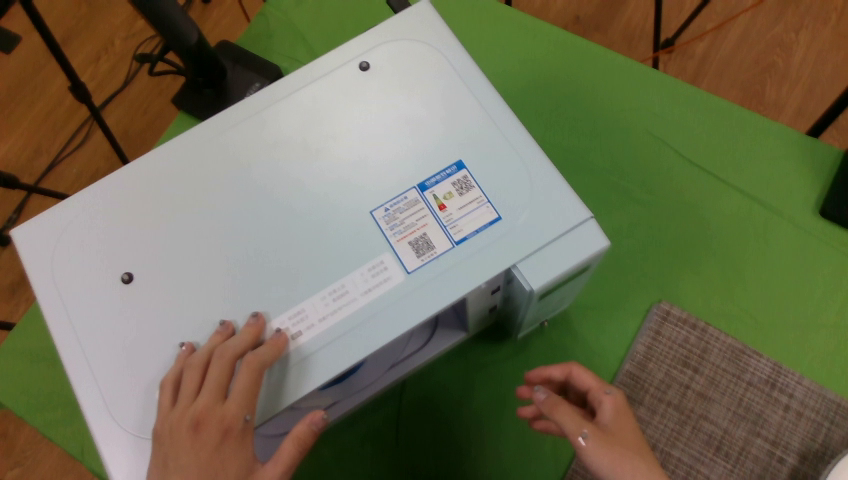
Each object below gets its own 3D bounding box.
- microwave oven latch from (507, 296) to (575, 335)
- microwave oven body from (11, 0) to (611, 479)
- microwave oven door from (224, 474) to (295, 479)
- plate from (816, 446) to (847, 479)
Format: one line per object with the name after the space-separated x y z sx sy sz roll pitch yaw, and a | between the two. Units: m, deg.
0.135 0.078 0.700 0.079 0.030 0.030 -30 72 -5 | microwave oven latch
-0.101 0.022 0.634 0.442 0.262 0.324 -32 73 -5 | microwave oven body
-0.037 0.254 0.547 0.355 0.245 0.039 3 72 5 | microwave oven door
0.493 0.304 0.613 0.207 0.039 0.206 -1 72 4 | plate
